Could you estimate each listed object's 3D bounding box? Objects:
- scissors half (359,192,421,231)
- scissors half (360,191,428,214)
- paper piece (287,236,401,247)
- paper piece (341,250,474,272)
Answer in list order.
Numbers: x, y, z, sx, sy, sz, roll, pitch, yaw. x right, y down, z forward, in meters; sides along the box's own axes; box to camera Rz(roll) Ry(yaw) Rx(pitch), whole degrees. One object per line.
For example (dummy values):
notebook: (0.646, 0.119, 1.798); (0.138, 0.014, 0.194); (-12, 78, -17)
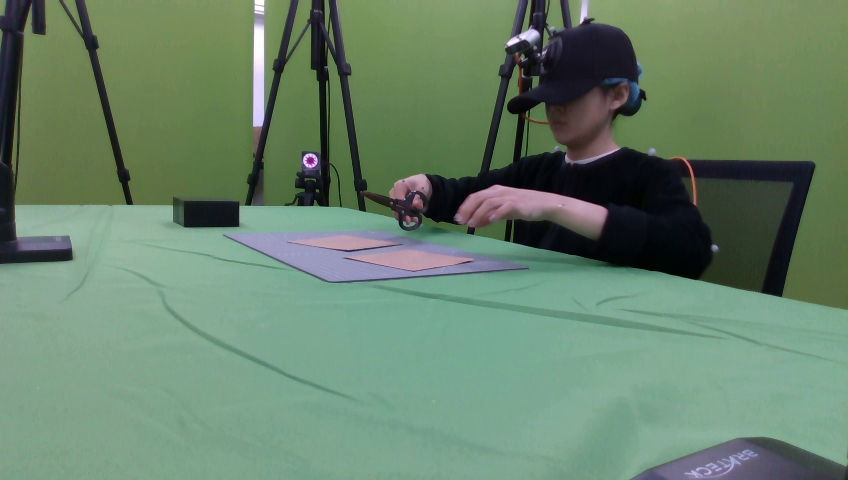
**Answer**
scissors half: (-0.056, -0.049, 1.024); (0.013, 0.040, 0.176); (24, -3, 35)
scissors half: (-0.048, -0.068, 1.022); (0.012, 0.040, 0.176); (30, 17, 34)
paper piece: (-0.130, 0.004, 0.986); (0.137, 0.008, 0.137); (7, 4, 35)
paper piece: (-0.023, 0.027, 0.848); (0.135, 0.004, 0.136); (8, 9, 39)
